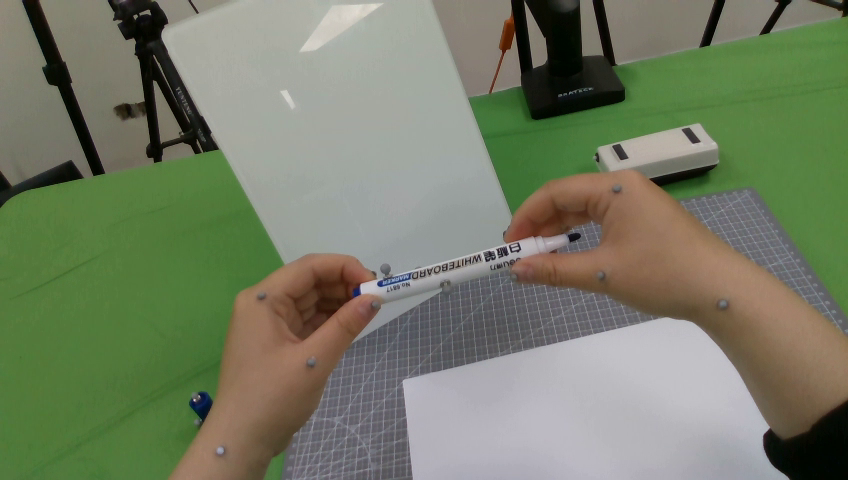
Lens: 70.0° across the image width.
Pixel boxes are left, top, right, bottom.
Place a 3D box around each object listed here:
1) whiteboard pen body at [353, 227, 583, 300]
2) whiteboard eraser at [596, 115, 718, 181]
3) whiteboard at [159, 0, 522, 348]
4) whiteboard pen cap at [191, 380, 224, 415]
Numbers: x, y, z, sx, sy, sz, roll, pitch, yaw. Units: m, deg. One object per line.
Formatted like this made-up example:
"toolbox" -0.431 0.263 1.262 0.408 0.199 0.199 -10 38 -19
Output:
"whiteboard pen body" 0.025 0.012 0.360 0.141 0.017 0.017 -15 40 6
"whiteboard eraser" 0.242 -0.094 0.636 0.112 0.042 0.055 -12 43 4
"whiteboard" -0.073 -0.096 0.587 0.217 0.307 0.142 -29 22 -13
"whiteboard pen cap" -0.187 0.137 0.524 0.018 0.033 0.018 -8 42 7
